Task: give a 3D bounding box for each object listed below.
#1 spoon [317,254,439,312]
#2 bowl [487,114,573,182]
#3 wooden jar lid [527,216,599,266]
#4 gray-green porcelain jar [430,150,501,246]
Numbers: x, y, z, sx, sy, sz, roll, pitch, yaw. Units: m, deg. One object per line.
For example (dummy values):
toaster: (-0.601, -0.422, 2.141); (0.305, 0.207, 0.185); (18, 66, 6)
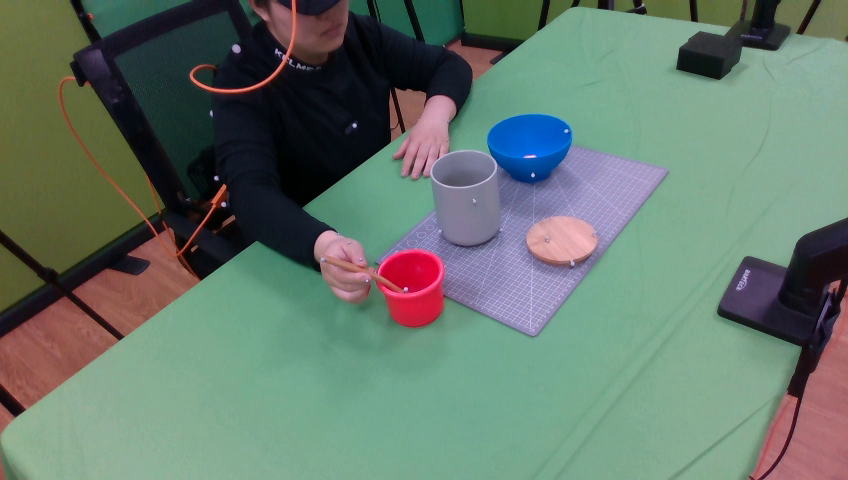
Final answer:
spoon: (-0.059, 0.057, 0.824); (0.021, 0.195, 0.041); (-52, 29, 14)
bowl: (0.190, -0.156, 1.085); (0.151, 0.077, 0.150); (-5, 40, 5)
wooden jar lid: (0.215, 0.003, 0.937); (0.108, 0.021, 0.108); (-4, 40, 4)
gray-green porcelain jar: (0.069, -0.062, 0.959); (0.106, 0.127, 0.105); (-5, 40, 5)
